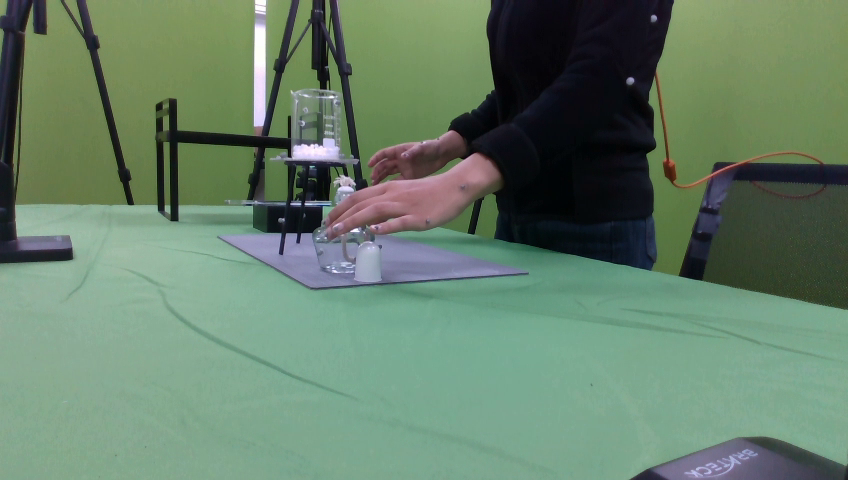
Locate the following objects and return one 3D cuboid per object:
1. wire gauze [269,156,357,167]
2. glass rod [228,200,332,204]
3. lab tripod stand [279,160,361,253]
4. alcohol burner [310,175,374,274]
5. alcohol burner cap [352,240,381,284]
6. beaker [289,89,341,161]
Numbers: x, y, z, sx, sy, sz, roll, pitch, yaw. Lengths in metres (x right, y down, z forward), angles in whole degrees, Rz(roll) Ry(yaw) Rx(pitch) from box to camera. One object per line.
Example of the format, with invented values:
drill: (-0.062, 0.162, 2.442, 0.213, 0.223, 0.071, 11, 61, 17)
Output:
wire gauze: (-0.159, -0.116, 0.886, 0.122, 0.011, 0.125, 2, 4, -9)
glass rod: (-0.270, -0.071, 1.149, 0.201, 0.008, 0.008, -1, 8, -30)
lab tripod stand: (-0.166, -0.052, 0.897, 0.148, 0.131, 0.148, 0, 7, 0)
alcohol burner: (-0.100, -0.020, 0.740, 0.078, 0.119, 0.078, 2, 7, 0)
alcohol burner cap: (-0.065, 0.023, 0.690, 0.034, 0.048, 0.034, 2, 11, 0)
beaker: (-0.161, -0.164, 0.879, 0.073, 0.100, 0.084, 6, 8, 34)
